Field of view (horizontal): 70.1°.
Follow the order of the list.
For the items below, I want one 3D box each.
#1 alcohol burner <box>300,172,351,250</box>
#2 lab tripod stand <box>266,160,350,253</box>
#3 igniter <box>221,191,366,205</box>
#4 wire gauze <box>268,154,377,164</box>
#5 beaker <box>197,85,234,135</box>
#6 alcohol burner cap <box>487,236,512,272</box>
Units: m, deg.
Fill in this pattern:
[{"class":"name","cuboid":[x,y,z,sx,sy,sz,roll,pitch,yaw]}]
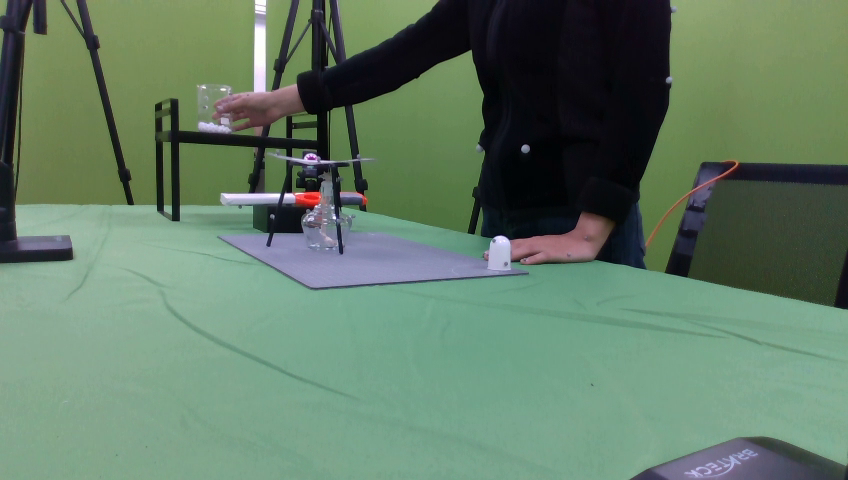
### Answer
[{"class":"alcohol burner","cuboid":[-0.149,-0.044,0.921,0.078,0.119,0.078,4,7,0]},{"class":"lab tripod stand","cuboid":[-0.163,-0.054,0.914,0.148,0.131,0.148,2,9,0]},{"class":"igniter","cuboid":[-0.240,-0.079,1.150,0.278,0.025,0.057,-3,20,-32]},{"class":"wire gauze","cuboid":[-0.154,-0.120,0.910,0.122,0.011,0.124,-5,11,-44]},{"class":"beaker","cuboid":[-0.444,-0.275,1.283,0.074,0.100,0.084,5,8,23]},{"class":"alcohol burner cap","cuboid":[0.101,0.019,0.802,0.034,0.048,0.034,3,7,0]}]
